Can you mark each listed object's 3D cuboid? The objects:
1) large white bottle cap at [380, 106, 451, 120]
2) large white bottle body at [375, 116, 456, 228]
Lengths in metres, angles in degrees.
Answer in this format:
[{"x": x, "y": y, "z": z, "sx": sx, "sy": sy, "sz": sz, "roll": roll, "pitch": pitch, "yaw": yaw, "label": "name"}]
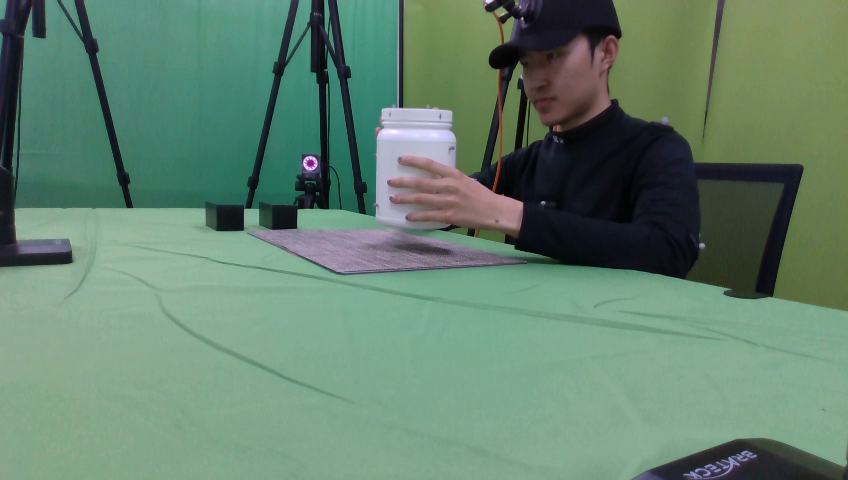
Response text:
[{"x": -0.013, "y": -0.203, "z": 0.971, "sx": 0.115, "sy": 0.018, "sz": 0.115, "roll": 2, "pitch": 10, "yaw": 0, "label": "large white bottle cap"}, {"x": -0.014, "y": -0.119, "z": 0.986, "sx": 0.131, "sy": 0.184, "sz": 0.130, "roll": 1, "pitch": 10, "yaw": 0, "label": "large white bottle body"}]
